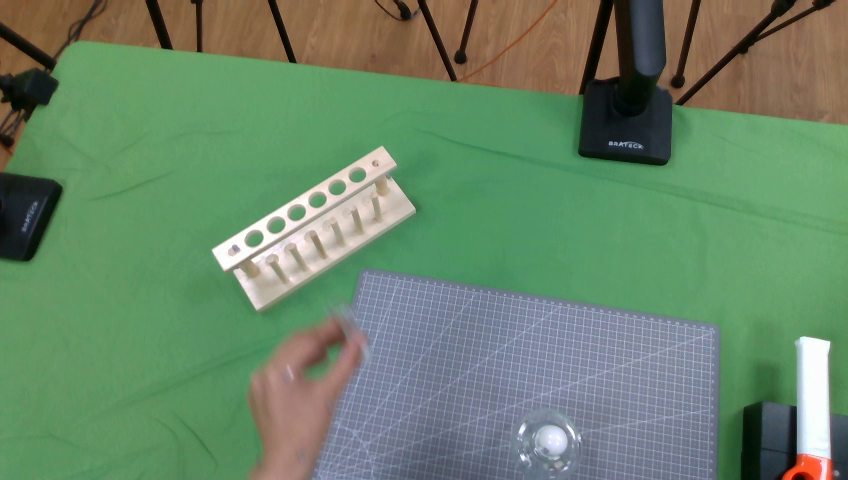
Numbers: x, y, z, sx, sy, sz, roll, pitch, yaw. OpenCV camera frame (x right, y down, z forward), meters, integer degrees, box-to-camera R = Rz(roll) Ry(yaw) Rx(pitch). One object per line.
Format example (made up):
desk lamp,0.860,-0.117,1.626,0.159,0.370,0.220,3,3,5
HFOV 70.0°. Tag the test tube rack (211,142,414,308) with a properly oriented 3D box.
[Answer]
test tube rack,-0.134,-0.018,0.767,0.242,0.086,0.066,-33,70,-10

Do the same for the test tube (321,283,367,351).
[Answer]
test tube,-0.070,0.074,0.553,0.017,0.151,0.017,-2,63,4

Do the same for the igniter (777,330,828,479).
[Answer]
igniter,0.394,0.227,0.622,0.057,0.025,0.275,12,67,10

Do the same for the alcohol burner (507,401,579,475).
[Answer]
alcohol burner,0.129,0.209,0.645,0.078,0.120,0.077,0,66,1

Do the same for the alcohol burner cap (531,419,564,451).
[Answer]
alcohol burner cap,0.127,0.196,0.611,0.034,0.048,0.033,-2,71,5
